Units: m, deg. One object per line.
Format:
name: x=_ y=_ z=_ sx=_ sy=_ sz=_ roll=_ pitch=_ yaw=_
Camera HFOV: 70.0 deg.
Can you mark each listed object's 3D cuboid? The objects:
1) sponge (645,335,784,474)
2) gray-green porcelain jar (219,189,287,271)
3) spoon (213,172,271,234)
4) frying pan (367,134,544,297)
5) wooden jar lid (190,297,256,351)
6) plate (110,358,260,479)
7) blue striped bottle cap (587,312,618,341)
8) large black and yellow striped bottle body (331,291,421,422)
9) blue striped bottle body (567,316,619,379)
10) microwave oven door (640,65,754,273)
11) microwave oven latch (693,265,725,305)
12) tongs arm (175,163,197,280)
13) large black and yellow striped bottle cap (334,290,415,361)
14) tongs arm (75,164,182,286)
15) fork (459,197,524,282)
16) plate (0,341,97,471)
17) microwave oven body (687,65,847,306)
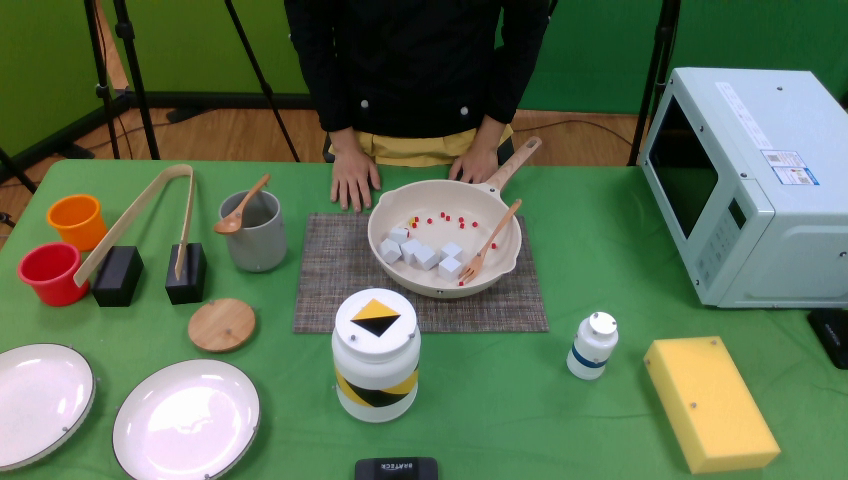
sponge: x=0.449 y=0.253 z=0.956 sx=0.118 sy=0.061 sz=0.205 roll=-4 pitch=46 yaw=-7
gray-green porcelain jar: x=-0.309 y=-0.014 z=1.113 sx=0.106 sy=0.127 sz=0.105 roll=2 pitch=46 yaw=-2
spoon: x=-0.312 y=-0.069 z=1.068 sx=0.041 sy=0.022 sz=0.193 roll=10 pitch=43 yaw=10
frying pan: x=0.104 y=-0.069 z=1.205 sx=0.305 sy=0.103 sz=0.487 roll=32 pitch=61 yaw=23
wooden jar lid: x=-0.342 y=0.145 z=1.033 sx=0.108 sy=0.021 sz=0.107 roll=2 pitch=45 yaw=-2
plate: x=-0.349 y=0.273 z=0.899 sx=0.208 sy=0.039 sz=0.206 roll=2 pitch=46 yaw=-2
blue striped bottle cap: x=0.279 y=0.134 z=0.947 sx=0.044 sy=0.021 sz=0.044 roll=2 pitch=45 yaw=-2
large black and yellow striped bottle body: x=-0.071 y=0.175 z=0.911 sx=0.131 sy=0.185 sz=0.130 roll=2 pitch=47 yaw=-2
blue striped bottle body: x=0.276 y=0.168 z=0.984 sx=0.063 sy=0.121 sz=0.062 roll=2 pitch=46 yaw=-2
microwave oven door: x=0.523 y=-0.147 z=1.193 sx=0.039 sy=0.245 sz=0.353 roll=0 pitch=47 yaw=-3
microwave oven latch: x=0.523 y=0.082 z=1.116 sx=0.030 sy=0.029 sz=0.078 roll=2 pitch=46 yaw=-1
tongs arm: x=-0.462 y=-0.049 z=1.149 sx=0.051 sy=0.026 sz=0.382 roll=-8 pitch=36 yaw=-7
large black and yellow striped bottle cap: x=-0.069 y=0.117 z=0.850 sx=0.115 sy=0.019 sz=0.114 roll=2 pitch=45 yaw=-2
tongs arm: x=-0.548 y=-0.043 z=1.143 sx=0.028 sy=0.028 sz=0.385 roll=-3 pitch=35 yaw=7
fork: x=0.132 y=-0.004 z=1.158 sx=0.028 sy=0.019 sz=0.207 roll=28 pitch=75 yaw=30
plate: x=-0.599 y=0.247 z=0.904 sx=0.209 sy=0.038 sz=0.208 roll=2 pitch=47 yaw=-2
microwave oven body: x=0.669 y=-0.111 z=1.176 sx=0.326 sy=0.261 sz=0.439 roll=0 pitch=46 yaw=-3
